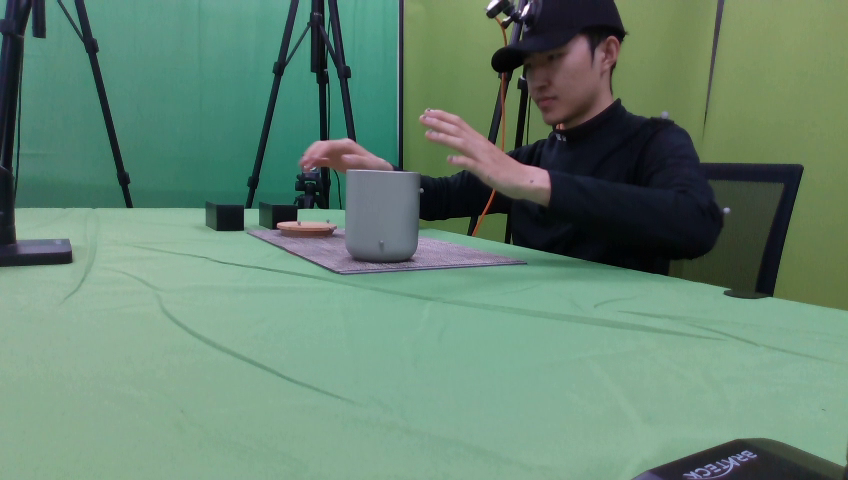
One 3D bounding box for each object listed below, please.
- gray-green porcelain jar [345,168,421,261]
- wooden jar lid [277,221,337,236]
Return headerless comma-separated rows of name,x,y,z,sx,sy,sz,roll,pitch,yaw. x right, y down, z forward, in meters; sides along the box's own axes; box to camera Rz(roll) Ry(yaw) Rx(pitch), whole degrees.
gray-green porcelain jar,-0.059,-0.037,0.858,0.106,0.126,0.106,2,7,0
wooden jar lid,-0.215,-0.021,1.111,0.108,0.020,0.108,3,7,0
